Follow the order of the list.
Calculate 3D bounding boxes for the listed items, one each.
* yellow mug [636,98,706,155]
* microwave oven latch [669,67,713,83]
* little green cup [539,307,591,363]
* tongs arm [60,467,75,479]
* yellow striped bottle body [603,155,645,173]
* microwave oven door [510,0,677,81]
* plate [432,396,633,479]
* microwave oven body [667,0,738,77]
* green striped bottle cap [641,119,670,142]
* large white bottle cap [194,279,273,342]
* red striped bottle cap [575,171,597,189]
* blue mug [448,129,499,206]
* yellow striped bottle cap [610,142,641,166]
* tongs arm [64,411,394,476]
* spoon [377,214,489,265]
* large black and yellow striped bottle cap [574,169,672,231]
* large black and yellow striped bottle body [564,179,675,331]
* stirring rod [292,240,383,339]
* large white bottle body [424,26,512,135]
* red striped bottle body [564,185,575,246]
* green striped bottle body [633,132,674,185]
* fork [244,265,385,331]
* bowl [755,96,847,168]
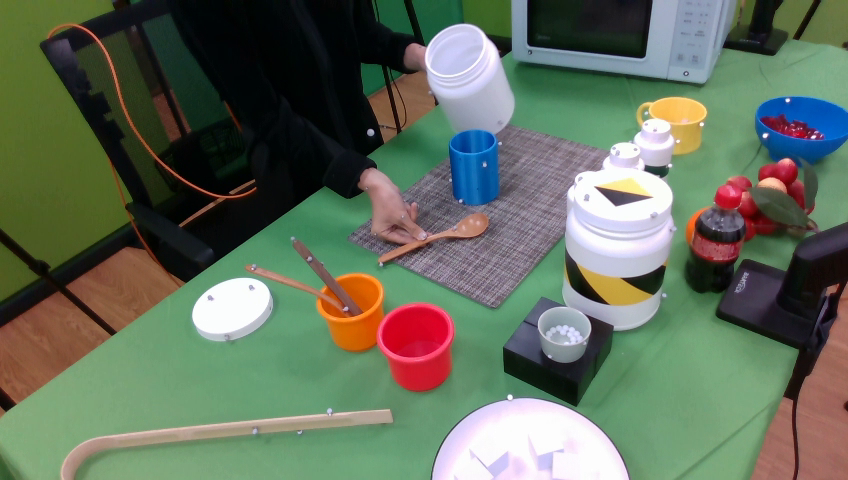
[{"bbox_3d":[0.453,-0.217,1.128,0.100,0.064,0.129,-34,46,-27],"label":"yellow mug"},{"bbox_3d":[0.556,-0.349,1.261,0.078,0.029,0.030,16,46,27],"label":"microwave oven latch"},{"bbox_3d":[0.167,0.114,0.721,0.061,0.039,0.061,-4,43,4],"label":"little green cup"},{"bbox_3d":[-0.239,0.301,0.649,0.386,0.028,0.028,6,49,16],"label":"tongs arm"},{"bbox_3d":[0.314,-0.090,0.957,0.063,0.121,0.062,-4,40,4],"label":"yellow striped bottle body"},{"bbox_3d":[0.354,-0.478,1.290,0.353,0.245,0.039,15,45,25],"label":"microwave oven door"},{"bbox_3d":[0.112,0.261,0.634,0.209,0.038,0.208,-5,40,4],"label":"plate"},{"bbox_3d":[0.462,-0.552,1.369,0.439,0.261,0.326,15,45,26],"label":"microwave oven body"},{"bbox_3d":[0.371,-0.175,0.968,0.044,0.020,0.044,-5,42,5],"label":"green striped bottle cap"},{"bbox_3d":[-0.284,0.103,0.902,0.115,0.018,0.114,-4,40,4],"label":"large white bottle cap"},{"bbox_3d":[0.242,-0.081,0.876,0.044,0.018,0.044,-5,44,5],"label":"red striped bottle cap"},{"bbox_3d":[0.091,-0.134,1.052,0.082,0.106,0.116,4,41,13],"label":"blue mug"},{"bbox_3d":[0.308,-0.131,0.925,0.044,0.019,0.044,-4,45,5],"label":"yellow striped bottle cap"},{"bbox_3d":[-0.228,0.241,0.715,0.385,0.026,0.050,-5,44,5],"label":"tongs arm"},{"bbox_3d":[0.014,0.000,0.967,0.194,0.022,0.041,-19,60,-13],"label":"spoon"},{"bbox_3d":[0.242,-0.051,0.738,0.115,0.019,0.114,-4,37,3],"label":"large black and yellow striped bottle cap"},{"bbox_3d":[0.253,0.014,0.793,0.131,0.185,0.130,-5,40,4],"label":"large black and yellow striped bottle body"},{"bbox_3d":[-0.118,0.068,0.826,0.176,0.006,0.014,48,59,-4],"label":"stirring rod"},{"bbox_3d":[0.079,-0.280,1.087,0.130,0.186,0.130,-7,65,16],"label":"large white bottle body"},{"bbox_3d":[0.247,-0.041,0.910,0.063,0.120,0.062,-3,39,3],"label":"red striped bottle body"},{"bbox_3d":[0.376,-0.135,1.001,0.063,0.120,0.063,-5,40,5],"label":"green striped bottle body"},{"bbox_3d":[-0.142,0.078,0.806,0.209,0.018,0.028,30,32,-23],"label":"fork"},{"bbox_3d":[0.645,-0.177,1.041,0.151,0.077,0.150,-5,40,4],"label":"bowl"}]
